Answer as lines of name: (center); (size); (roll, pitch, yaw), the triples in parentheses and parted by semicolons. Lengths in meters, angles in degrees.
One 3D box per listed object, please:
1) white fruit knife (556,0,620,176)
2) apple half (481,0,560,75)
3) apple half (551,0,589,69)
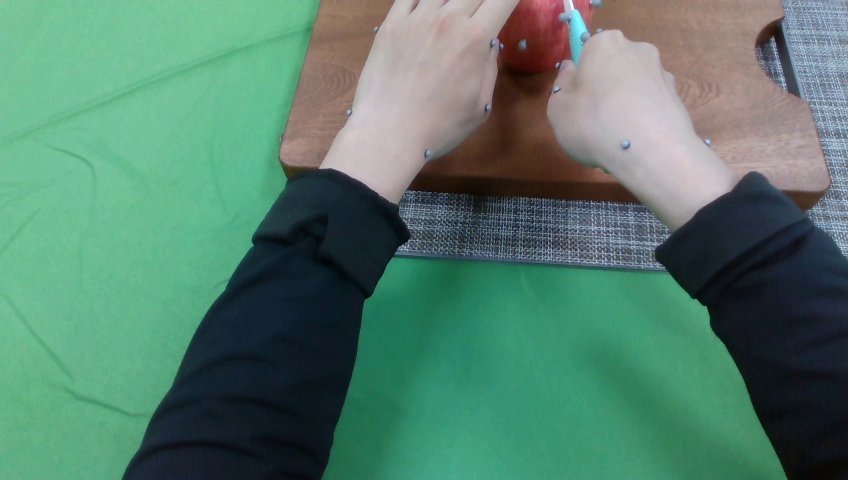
white fruit knife: (0.099, -0.141, 0.414); (0.016, 0.027, 0.206); (-11, 70, 1)
apple half: (0.071, -0.169, 0.471); (0.053, 0.075, 0.080); (-10, 63, 2)
apple half: (0.110, -0.176, 0.471); (0.033, 0.082, 0.080); (-11, 60, 1)
